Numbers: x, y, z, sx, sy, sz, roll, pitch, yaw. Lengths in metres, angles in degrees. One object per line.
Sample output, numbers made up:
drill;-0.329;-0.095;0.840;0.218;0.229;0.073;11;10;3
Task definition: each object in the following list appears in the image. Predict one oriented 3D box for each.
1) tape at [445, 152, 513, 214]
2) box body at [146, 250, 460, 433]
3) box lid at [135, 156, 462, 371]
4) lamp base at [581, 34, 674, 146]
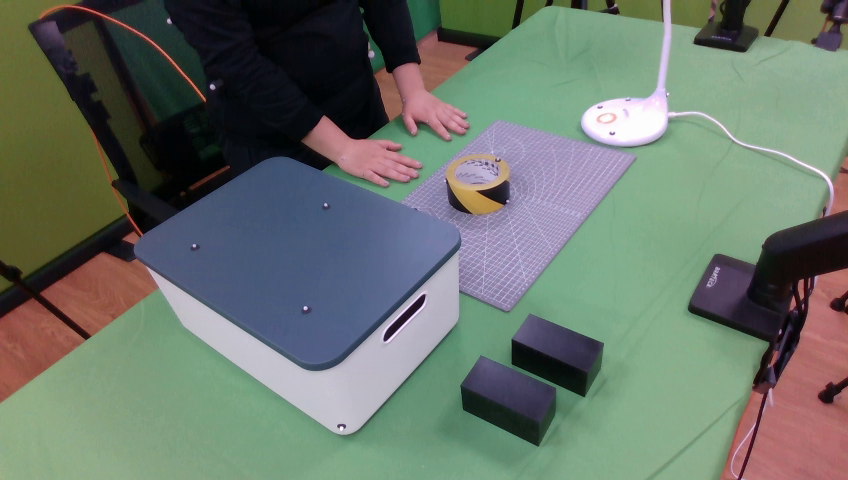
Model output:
tape;0.095;-0.099;1.043;0.117;0.053;0.116;-4;41;4
box body;-0.156;0.059;0.815;0.361;0.161;0.255;24;49;31
box lid;-0.162;0.005;0.765;0.368;0.015;0.264;24;49;31
lamp base;0.392;-0.291;1.129;0.180;0.181;0.159;-11;41;-8
